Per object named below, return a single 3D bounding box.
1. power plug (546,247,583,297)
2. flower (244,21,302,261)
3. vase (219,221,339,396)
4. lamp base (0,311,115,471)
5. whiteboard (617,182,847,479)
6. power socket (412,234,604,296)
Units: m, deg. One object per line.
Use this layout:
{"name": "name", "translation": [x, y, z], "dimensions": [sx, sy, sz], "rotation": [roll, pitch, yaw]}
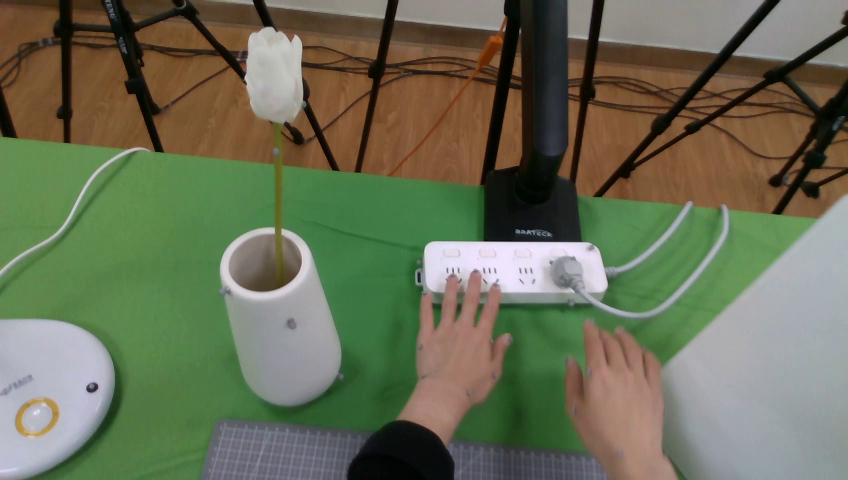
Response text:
{"name": "power plug", "translation": [0.153, 0.040, 0.674], "dimensions": [0.035, 0.053, 0.072], "rotation": [9, 56, 2]}
{"name": "flower", "translation": [-0.120, 0.006, 0.500], "dimensions": [0.038, 0.364, 0.043], "rotation": [-3, 37, -15]}
{"name": "vase", "translation": [-0.133, 0.067, 0.556], "dimensions": [0.098, 0.201, 0.097], "rotation": [2, 54, -2]}
{"name": "lamp base", "translation": [-0.391, 0.091, 0.528], "dimensions": [0.178, 0.182, 0.160], "rotation": [33, 58, 21]}
{"name": "whiteboard", "translation": [0.365, 0.124, 0.532], "dimensions": [0.144, 0.307, 0.215], "rotation": [-12, 54, -35]}
{"name": "power socket", "translation": [0.100, 0.029, 0.705], "dimensions": [0.227, 0.033, 0.071], "rotation": [1, 56, -5]}
